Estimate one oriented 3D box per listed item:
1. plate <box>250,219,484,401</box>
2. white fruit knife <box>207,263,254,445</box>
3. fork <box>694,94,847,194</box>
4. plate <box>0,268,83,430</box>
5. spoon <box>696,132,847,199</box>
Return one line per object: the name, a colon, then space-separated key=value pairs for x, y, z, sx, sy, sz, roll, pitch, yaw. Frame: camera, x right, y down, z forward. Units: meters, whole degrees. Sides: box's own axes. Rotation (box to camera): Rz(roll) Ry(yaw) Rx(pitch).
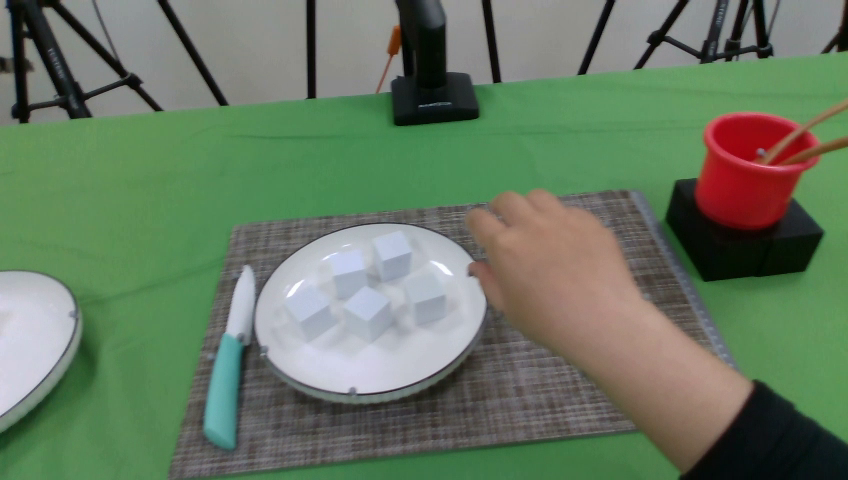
plate: x=-0.049 y=0.061 z=0.551 sx=0.207 sy=0.039 sz=0.205 roll=-2 pitch=42 yaw=2
white fruit knife: x=-0.170 y=0.090 z=0.545 sx=0.027 sy=0.016 sz=0.205 roll=16 pitch=35 yaw=-21
fork: x=0.343 y=-0.099 z=0.546 sx=0.207 sy=0.019 sz=0.028 roll=-37 pitch=12 yaw=24
plate: x=-0.405 y=0.108 z=0.529 sx=0.209 sy=0.038 sz=0.207 roll=-2 pitch=41 yaw=2
spoon: x=0.319 y=-0.069 z=0.513 sx=0.041 sy=0.193 sz=0.021 roll=-31 pitch=90 yaw=-33
